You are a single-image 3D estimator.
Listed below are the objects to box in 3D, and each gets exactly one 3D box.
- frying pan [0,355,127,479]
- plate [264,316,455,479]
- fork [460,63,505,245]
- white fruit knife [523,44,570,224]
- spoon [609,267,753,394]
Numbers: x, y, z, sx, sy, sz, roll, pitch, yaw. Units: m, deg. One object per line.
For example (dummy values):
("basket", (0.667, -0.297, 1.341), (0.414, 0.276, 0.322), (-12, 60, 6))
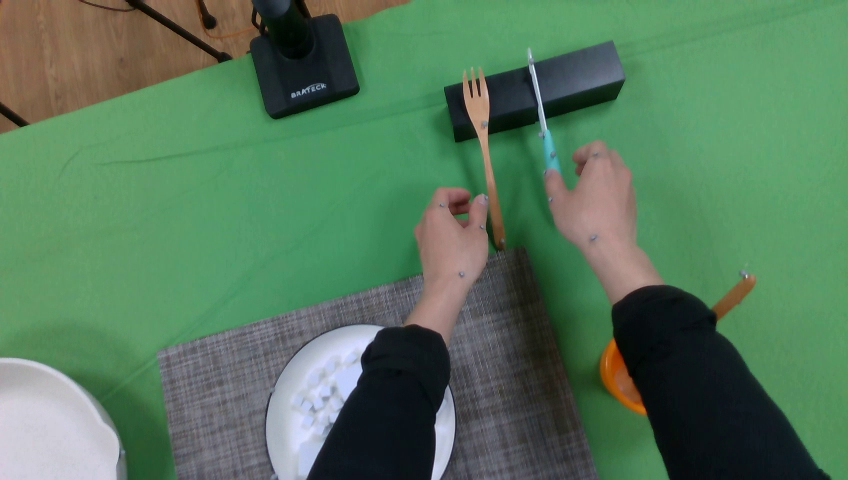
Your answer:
("frying pan", (-0.421, 0.362, 0.626), (0.307, 0.103, 0.484), (-23, 69, 1))
("plate", (-0.068, 0.188, 0.661), (0.207, 0.039, 0.206), (-1, 78, 5))
("fork", (0.070, -0.095, 0.689), (0.028, 0.018, 0.207), (-10, 95, 9))
("white fruit knife", (0.136, -0.120, 0.687), (0.016, 0.027, 0.207), (-14, 92, 1))
("spoon", (0.252, 0.094, 0.599), (0.041, 0.194, 0.021), (40, 40, 9))
